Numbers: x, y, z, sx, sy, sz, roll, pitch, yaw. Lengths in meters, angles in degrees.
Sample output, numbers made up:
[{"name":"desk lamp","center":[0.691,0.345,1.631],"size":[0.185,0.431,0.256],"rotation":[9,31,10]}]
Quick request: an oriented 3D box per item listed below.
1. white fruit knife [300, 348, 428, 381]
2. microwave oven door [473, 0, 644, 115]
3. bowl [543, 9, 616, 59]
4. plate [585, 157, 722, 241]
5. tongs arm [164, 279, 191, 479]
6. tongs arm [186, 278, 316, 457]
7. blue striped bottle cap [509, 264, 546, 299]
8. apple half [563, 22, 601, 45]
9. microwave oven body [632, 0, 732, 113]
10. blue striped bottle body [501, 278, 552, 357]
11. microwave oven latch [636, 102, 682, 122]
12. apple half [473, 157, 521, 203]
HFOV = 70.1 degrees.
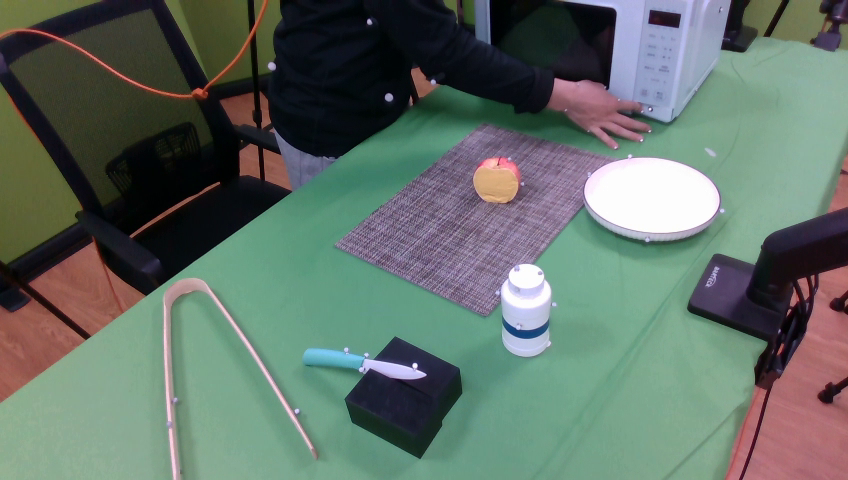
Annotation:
[{"name":"white fruit knife","center":[-0.079,0.154,0.748],"size":[0.206,0.027,0.016],"rotation":[1,20,34]},{"name":"microwave oven door","center":[0.257,-0.396,1.199],"size":[0.353,0.245,0.039],"rotation":[21,48,29]},{"name":"bowl","center":[0.336,-0.440,1.306],"size":[0.151,0.077,0.151],"rotation":[-8,31,5]},{"name":"plate","center":[0.367,-0.064,0.979],"size":[0.207,0.039,0.206],"rotation":[-4,40,4]},{"name":"tongs arm","center":[-0.313,0.182,0.790],"size":[0.051,0.026,0.381],"rotation":[-20,40,-14]},{"name":"tongs arm","center":[-0.241,0.154,0.816],"size":[0.028,0.028,0.384],"rotation":[-32,45,-21]},{"name":"blue striped bottle cap","center":[0.125,0.050,0.736],"size":[0.044,0.021,0.044],"rotation":[-6,39,5]},{"name":"apple half","center":[0.335,-0.448,1.299],"size":[0.081,0.033,0.081],"rotation":[-16,32,11]},{"name":"microwave oven body","center":[0.377,-0.463,1.267],"size":[0.438,0.261,0.327],"rotation":[21,49,30]},{"name":"blue striped bottle body","center":[0.130,0.089,0.769],"size":[0.063,0.121,0.063],"rotation":[-4,40,4]},{"name":"microwave oven latch","center":[0.449,-0.252,1.159],"size":[0.030,0.029,0.078],"rotation":[-36,47,-28]},{"name":"apple half","center":[0.128,-0.106,1.030],"size":[0.080,0.075,0.053],"rotation":[4,36,19]}]
